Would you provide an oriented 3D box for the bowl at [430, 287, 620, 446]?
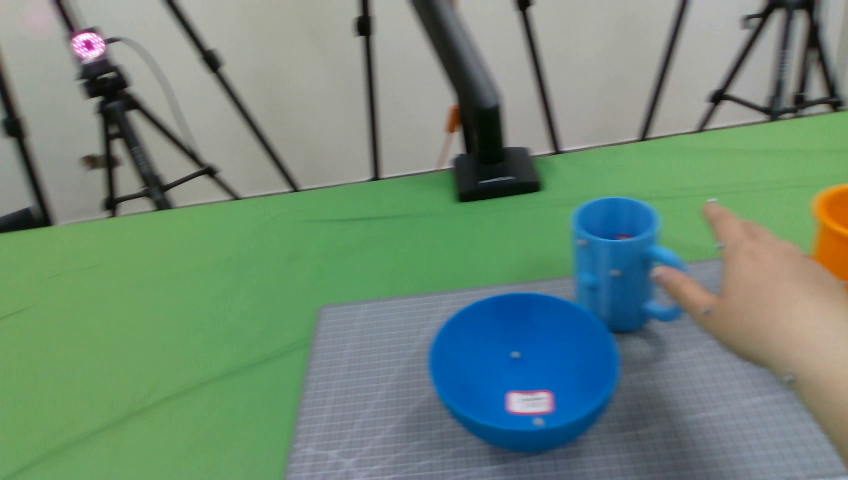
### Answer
[{"bbox_3d":[0.084,0.116,0.503,0.151,0.077,0.150,-7,35,5],"label":"bowl"}]

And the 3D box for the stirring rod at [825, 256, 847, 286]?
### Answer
[{"bbox_3d":[0.400,-0.028,0.490,0.176,0.006,0.014,-50,33,17],"label":"stirring rod"}]

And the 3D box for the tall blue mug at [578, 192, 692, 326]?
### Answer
[{"bbox_3d":[0.202,0.021,0.580,0.106,0.109,0.077,8,38,25],"label":"tall blue mug"}]
